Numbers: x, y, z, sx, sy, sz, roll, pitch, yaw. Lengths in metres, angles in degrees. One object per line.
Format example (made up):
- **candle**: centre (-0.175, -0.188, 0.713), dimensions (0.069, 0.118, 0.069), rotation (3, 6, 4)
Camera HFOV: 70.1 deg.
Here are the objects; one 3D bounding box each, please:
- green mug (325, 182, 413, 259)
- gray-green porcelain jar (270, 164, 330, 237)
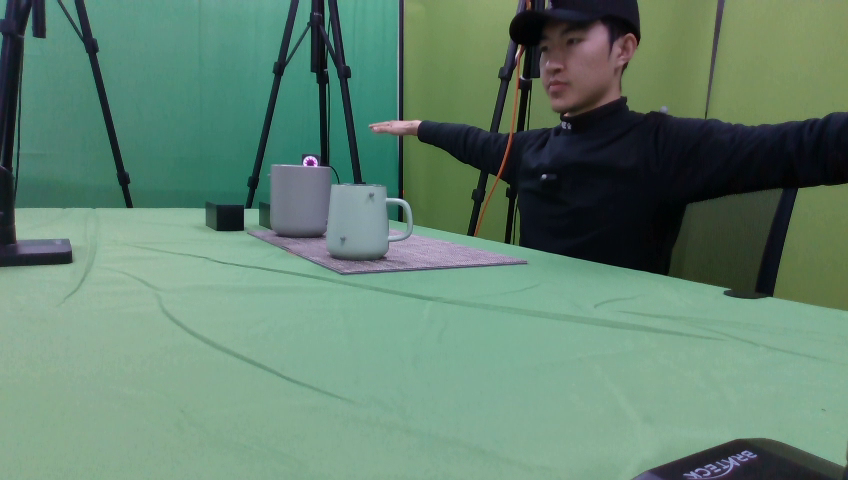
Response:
- **green mug**: centre (-0.078, -0.028, 0.869), dimensions (0.125, 0.105, 0.092), rotation (2, 7, 3)
- **gray-green porcelain jar**: centre (-0.223, -0.073, 1.091), dimensions (0.106, 0.126, 0.106), rotation (2, 8, 0)
